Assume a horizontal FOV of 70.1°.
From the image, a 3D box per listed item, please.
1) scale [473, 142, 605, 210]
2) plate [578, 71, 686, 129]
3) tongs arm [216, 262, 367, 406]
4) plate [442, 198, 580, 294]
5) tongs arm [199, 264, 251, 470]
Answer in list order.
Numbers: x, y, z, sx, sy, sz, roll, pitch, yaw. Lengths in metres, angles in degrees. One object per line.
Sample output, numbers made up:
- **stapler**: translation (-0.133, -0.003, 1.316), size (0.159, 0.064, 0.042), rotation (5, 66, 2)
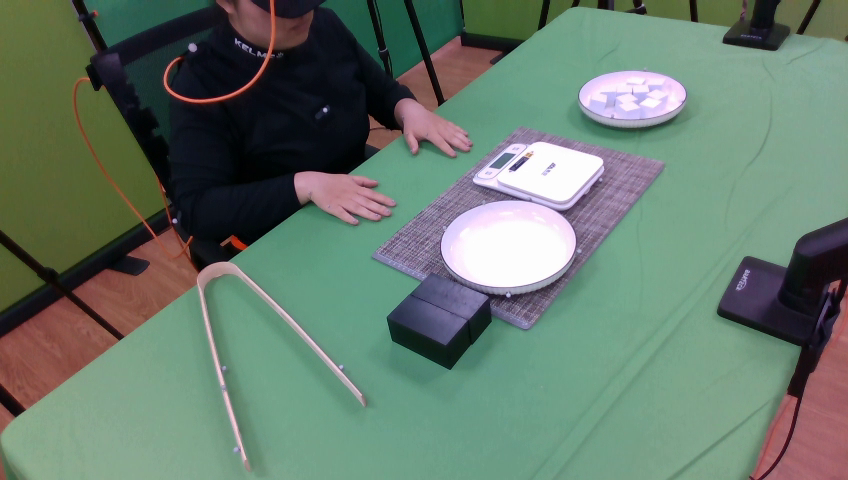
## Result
- **scale**: translation (0.202, -0.121, 1.074), size (0.199, 0.032, 0.149), rotation (23, 49, 33)
- **plate**: translation (0.416, -0.280, 1.222), size (0.209, 0.038, 0.208), rotation (-5, 41, 5)
- **tongs arm**: translation (-0.201, 0.121, 0.871), size (0.028, 0.028, 0.384), rotation (-36, 46, -24)
- **plate**: translation (0.132, 0.012, 0.925), size (0.207, 0.039, 0.206), rotation (-5, 40, 5)
- **tongs arm**: translation (-0.270, 0.154, 0.840), size (0.051, 0.026, 0.381), rotation (-23, 41, -17)
